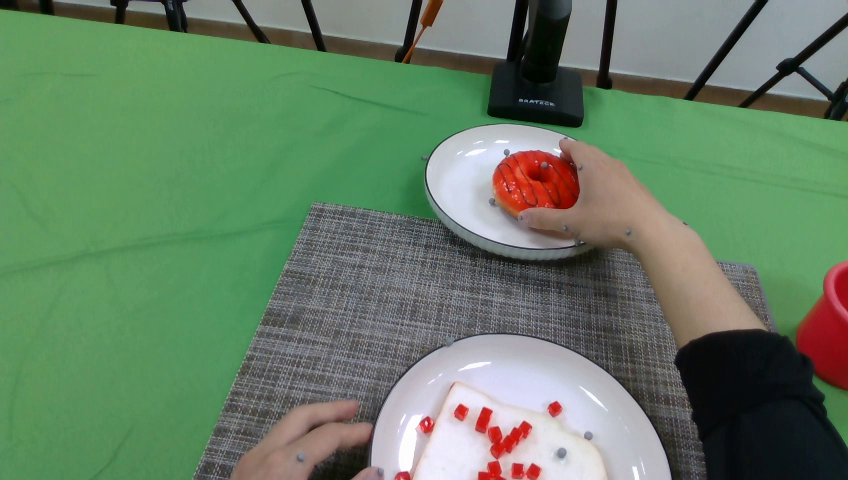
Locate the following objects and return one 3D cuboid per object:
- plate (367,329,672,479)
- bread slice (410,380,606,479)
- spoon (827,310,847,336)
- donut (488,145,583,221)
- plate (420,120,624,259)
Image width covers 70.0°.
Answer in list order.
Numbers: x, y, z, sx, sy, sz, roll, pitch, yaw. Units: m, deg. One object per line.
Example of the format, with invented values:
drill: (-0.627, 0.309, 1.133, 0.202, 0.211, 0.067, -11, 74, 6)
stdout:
plate: (0.064, 0.157, 0.425, 0.209, 0.038, 0.207, 3, 46, -2)
bread slice: (0.061, 0.160, 0.425, 0.131, 0.019, 0.104, 17, 48, 12)
spoon: (0.357, 0.074, 0.464, 0.041, 0.021, 0.194, 24, 5, 16)
donut: (0.114, -0.058, 0.621, 0.099, 0.048, 0.098, 4, 44, -4)
plate: (0.099, -0.052, 0.630, 0.208, 0.039, 0.205, 3, 44, -3)
